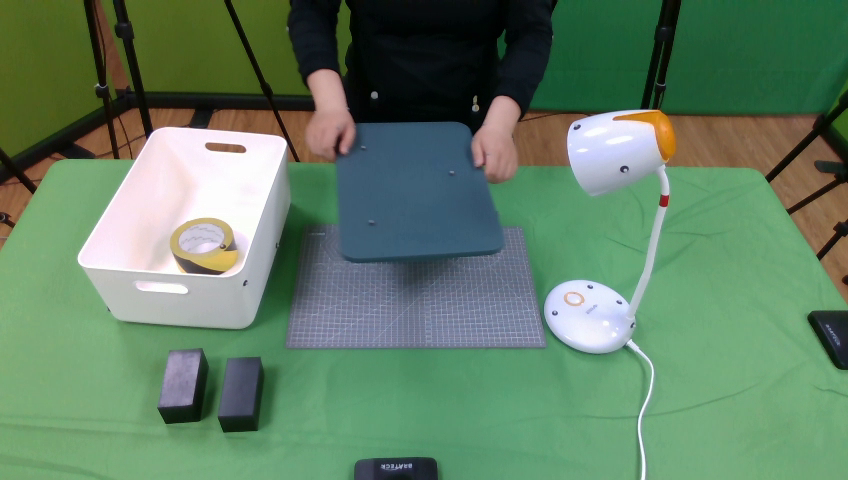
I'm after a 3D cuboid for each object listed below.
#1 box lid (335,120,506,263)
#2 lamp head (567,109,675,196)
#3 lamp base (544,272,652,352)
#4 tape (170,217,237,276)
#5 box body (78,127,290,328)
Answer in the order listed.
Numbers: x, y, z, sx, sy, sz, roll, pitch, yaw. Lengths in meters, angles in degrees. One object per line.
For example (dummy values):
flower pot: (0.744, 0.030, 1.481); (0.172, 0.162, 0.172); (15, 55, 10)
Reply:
box lid: (-0.019, -0.098, 1.046); (0.263, 0.015, 0.369); (-3, 44, -7)
lamp head: (0.272, -0.123, 0.818); (0.122, 0.113, 0.112); (-9, 35, 37)
lamp base: (0.310, 0.086, 1.029); (0.178, 0.181, 0.160); (32, 52, 21)
tape: (-0.407, 0.014, 1.123); (0.117, 0.053, 0.116); (2, 46, -2)
box body: (-0.400, -0.026, 1.095); (0.254, 0.161, 0.362); (4, 46, 0)
